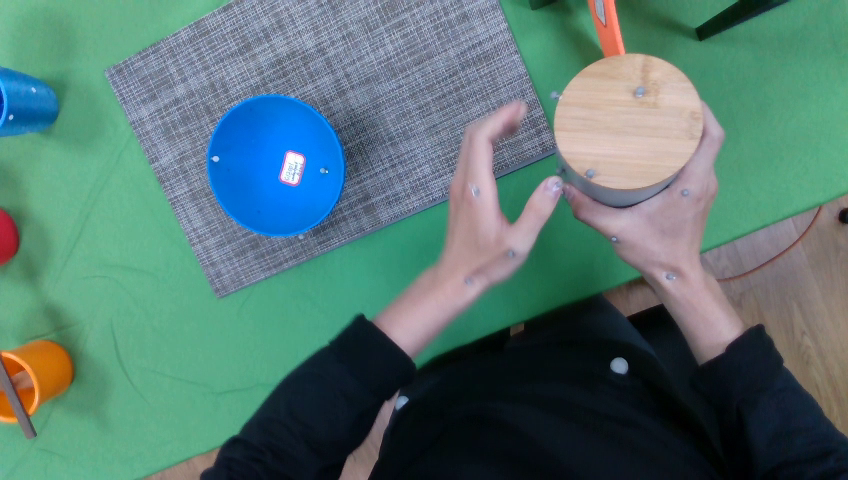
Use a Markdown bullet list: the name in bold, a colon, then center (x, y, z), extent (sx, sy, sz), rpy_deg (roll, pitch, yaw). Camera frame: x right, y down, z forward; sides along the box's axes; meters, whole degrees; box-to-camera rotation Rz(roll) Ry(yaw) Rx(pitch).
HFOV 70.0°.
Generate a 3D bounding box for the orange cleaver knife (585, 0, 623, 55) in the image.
- **orange cleaver knife**: center (0.190, -0.198, 0.619), extent (0.012, 0.076, 0.213), rpy_deg (-27, 125, 7)

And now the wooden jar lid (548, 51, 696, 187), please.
- **wooden jar lid**: center (0.151, -0.092, 0.469), extent (0.108, 0.021, 0.108), rpy_deg (-2, 80, 13)

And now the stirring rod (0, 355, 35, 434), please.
- **stirring rod**: center (-0.507, 0.152, 0.723), extent (0.014, 0.006, 0.176), rpy_deg (-19, 98, 7)

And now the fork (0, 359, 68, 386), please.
- **fork**: center (-0.551, 0.179, 0.734), extent (0.208, 0.018, 0.028), rpy_deg (-11, 111, -36)

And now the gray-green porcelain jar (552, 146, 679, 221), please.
- **gray-green porcelain jar**: center (0.166, -0.077, 0.528), extent (0.105, 0.127, 0.105), rpy_deg (-3, 77, 13)

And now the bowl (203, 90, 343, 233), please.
- **bowl**: center (-0.156, -0.087, 0.676), extent (0.151, 0.076, 0.152), rpy_deg (1, 100, 6)

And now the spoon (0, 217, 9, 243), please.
- **spoon**: center (-0.603, 0.008, 0.713), extent (0.194, 0.021, 0.042), rpy_deg (-19, 98, -34)

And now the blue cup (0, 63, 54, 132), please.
- **blue cup**: center (-0.482, -0.163, 0.690), extent (0.092, 0.100, 0.093), rpy_deg (1, 101, 4)
